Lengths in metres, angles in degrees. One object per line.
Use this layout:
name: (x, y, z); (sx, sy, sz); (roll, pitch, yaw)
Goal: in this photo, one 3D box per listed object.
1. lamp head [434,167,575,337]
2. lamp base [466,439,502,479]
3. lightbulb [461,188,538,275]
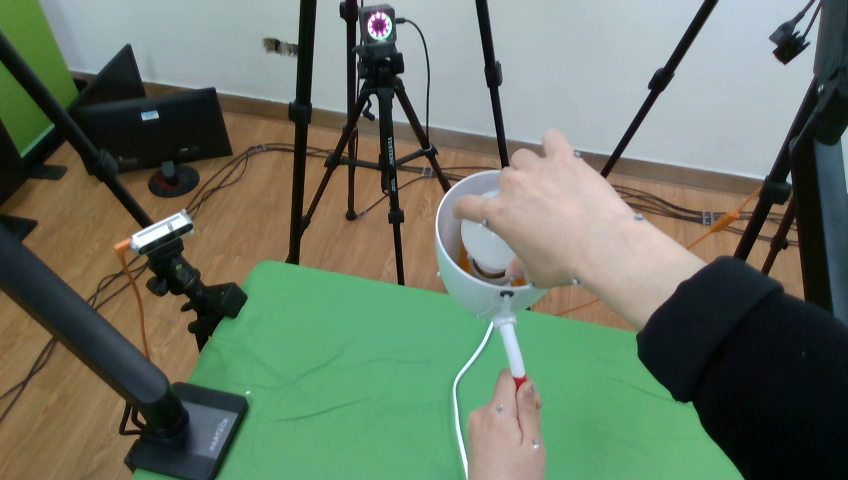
lamp head: (0.062, 0.019, 0.518); (0.112, 0.124, 0.111); (1, 54, -1)
lamp base: (0.088, 0.304, 0.650); (0.161, 0.182, 0.177); (-22, 50, -21)
lightbulb: (0.059, 0.000, 0.492); (0.059, 0.108, 0.059); (-1, 63, 2)
